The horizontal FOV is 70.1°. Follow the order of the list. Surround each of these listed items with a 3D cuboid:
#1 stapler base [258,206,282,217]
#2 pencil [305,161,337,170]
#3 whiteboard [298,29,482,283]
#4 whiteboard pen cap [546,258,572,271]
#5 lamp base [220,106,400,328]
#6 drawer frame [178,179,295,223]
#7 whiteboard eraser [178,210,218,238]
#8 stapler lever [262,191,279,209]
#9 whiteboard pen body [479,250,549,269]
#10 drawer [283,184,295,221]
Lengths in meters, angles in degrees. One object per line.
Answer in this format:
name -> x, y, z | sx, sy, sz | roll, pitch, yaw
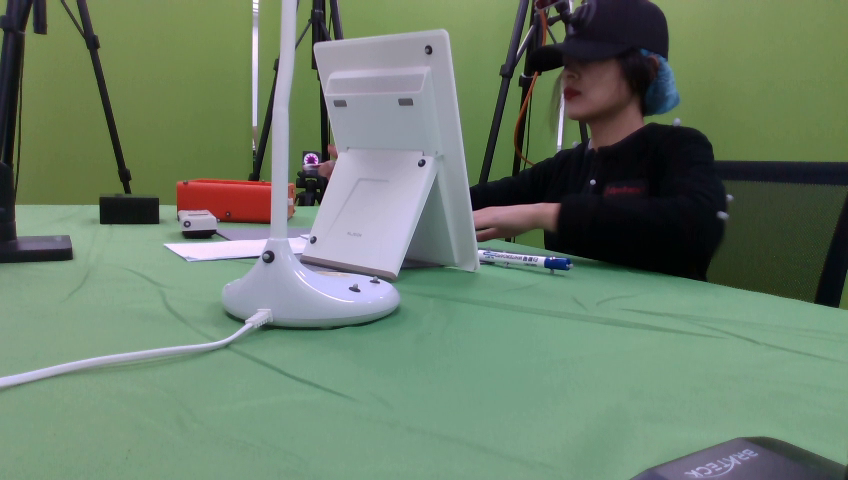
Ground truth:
stapler base -> -0.331, -0.065, 1.305 | 0.041, 0.024, 0.130 | 9, -2, -9
pencil -> -0.155, -0.137, 1.073 | 0.012, 0.012, 0.193 | -5, 4, -44
whiteboard -> -0.075, -0.082, 0.741 | 0.216, 0.305, 0.144 | 9, 29, 37
whiteboard pen cap -> 0.175, 0.032, 0.790 | 0.033, 0.018, 0.018 | 3, 7, 37
lamp base -> -0.101, -0.023, 0.531 | 0.160, 0.180, 0.179 | 4, 10, 10
drawer frame -> -0.397, -0.088, 1.315 | 0.214, 0.082, 0.201 | 1, 8, -7
whiteboard eraser -> -0.380, -0.027, 1.014 | 0.056, 0.042, 0.112 | 0, 8, -25
stapler lever -> -0.329, -0.086, 1.306 | 0.027, 0.040, 0.118 | 9, 3, -9
whiteboard pen body -> 0.130, 0.028, 0.827 | 0.140, 0.017, 0.017 | 7, 8, 38
drawer -> -0.394, -0.087, 1.317 | 0.212, 0.073, 0.194 | 1, 8, -7
